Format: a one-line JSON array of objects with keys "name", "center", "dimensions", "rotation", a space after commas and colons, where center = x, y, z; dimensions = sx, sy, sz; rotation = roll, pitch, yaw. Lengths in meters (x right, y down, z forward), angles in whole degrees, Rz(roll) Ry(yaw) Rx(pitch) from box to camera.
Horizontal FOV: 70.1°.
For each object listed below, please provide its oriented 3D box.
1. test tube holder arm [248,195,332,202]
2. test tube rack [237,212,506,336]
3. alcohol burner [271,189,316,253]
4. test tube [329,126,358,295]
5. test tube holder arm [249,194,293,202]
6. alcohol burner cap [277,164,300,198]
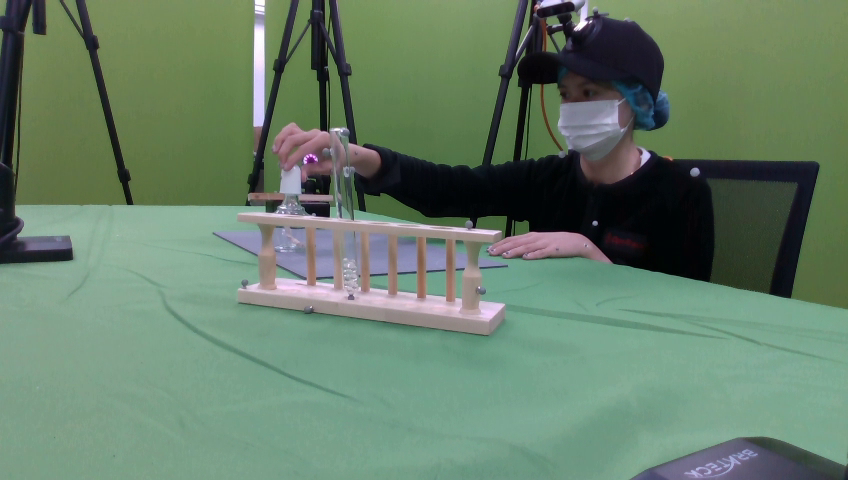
[{"name": "test tube holder arm", "center": [-0.269, -0.085, 1.229], "dimensions": [0.179, 0.015, 0.013], "rotation": [-2, 1, -37]}, {"name": "test tube rack", "center": [-0.049, 0.024, 0.552], "dimensions": [0.242, 0.085, 0.067], "rotation": [5, 8, 18]}, {"name": "alcohol burner", "center": [-0.196, -0.041, 0.884], "dimensions": [0.078, 0.119, 0.078], "rotation": [3, 5, 0]}, {"name": "test tube", "center": [-0.070, -0.025, 0.534], "dimensions": [0.017, 0.150, 0.017], "rotation": [-3, 10, 1]}, {"name": "test tube holder arm", "center": [-0.302, -0.084, 1.197], "dimensions": [0.088, 0.015, 0.010], "rotation": [-2, 1, -37]}, {"name": "alcohol burner cap", "center": [-0.196, -0.087, 0.881], "dimensions": [0.034, 0.048, 0.034], "rotation": [7, 8, -1]}]
